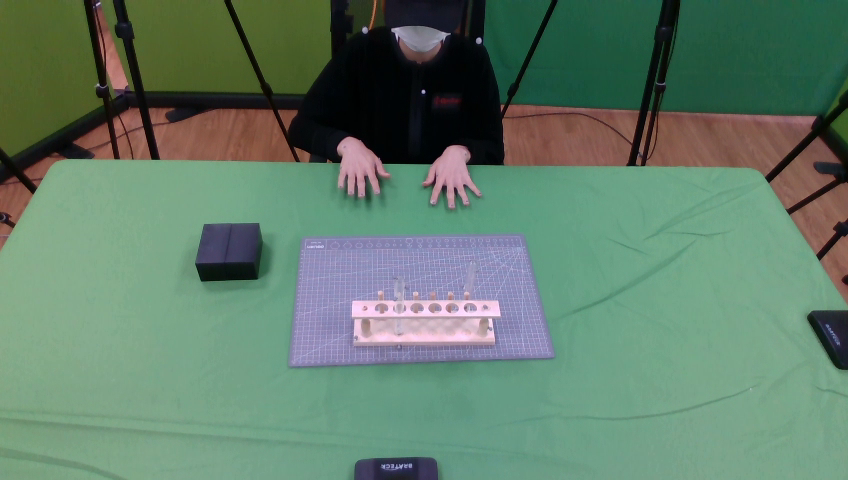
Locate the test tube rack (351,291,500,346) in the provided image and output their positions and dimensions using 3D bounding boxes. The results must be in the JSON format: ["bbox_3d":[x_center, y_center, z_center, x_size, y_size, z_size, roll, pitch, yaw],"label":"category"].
[{"bbox_3d":[0.001,0.129,1.026,0.242,0.085,0.066,0,46,-4],"label":"test tube rack"}]

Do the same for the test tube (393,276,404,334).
[{"bbox_3d":[-0.041,0.108,0.973,0.017,0.151,0.017,2,50,-2],"label":"test tube"}]

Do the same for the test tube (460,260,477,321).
[{"bbox_3d":[0.073,0.086,1.011,0.017,0.151,0.017,2,46,-2],"label":"test tube"}]
